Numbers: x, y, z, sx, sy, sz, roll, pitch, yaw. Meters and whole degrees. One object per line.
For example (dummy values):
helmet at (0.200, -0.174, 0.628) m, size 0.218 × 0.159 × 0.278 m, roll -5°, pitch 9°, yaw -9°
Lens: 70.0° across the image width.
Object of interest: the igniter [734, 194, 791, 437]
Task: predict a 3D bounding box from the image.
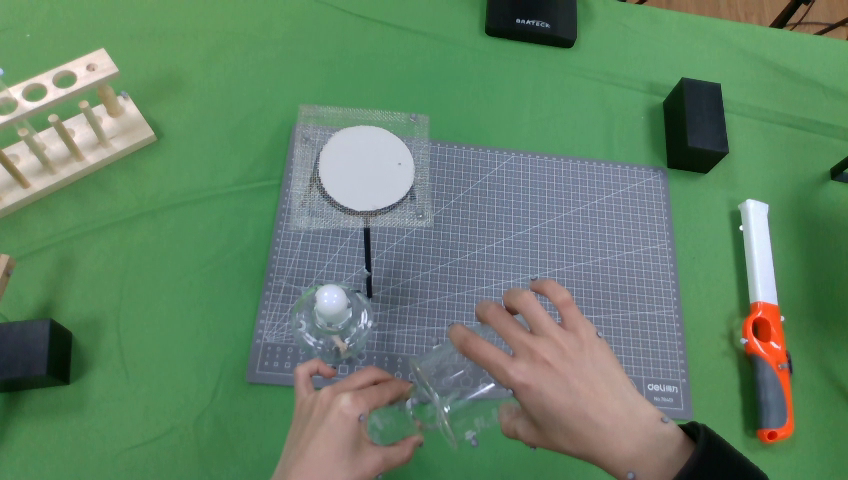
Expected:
igniter at (0.370, 0.076, 0.667) m, size 0.057 × 0.025 × 0.274 m, roll 13°, pitch 66°, yaw -13°

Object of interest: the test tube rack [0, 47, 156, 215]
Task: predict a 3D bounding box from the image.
test tube rack at (-0.408, -0.092, 0.603) m, size 0.242 × 0.085 × 0.066 m, roll -33°, pitch 75°, yaw -19°

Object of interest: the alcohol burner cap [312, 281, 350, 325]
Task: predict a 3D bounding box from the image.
alcohol burner cap at (-0.082, 0.054, 0.527) m, size 0.034 × 0.048 × 0.033 m, roll 1°, pitch 70°, yaw -3°

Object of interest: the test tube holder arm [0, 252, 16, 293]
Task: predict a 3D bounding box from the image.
test tube holder arm at (-0.382, 0.053, 0.530) m, size 0.010 × 0.015 × 0.087 m, roll 9°, pitch 65°, yaw -3°

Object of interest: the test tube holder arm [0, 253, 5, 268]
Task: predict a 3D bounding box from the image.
test tube holder arm at (-0.392, 0.092, 0.511) m, size 0.013 × 0.015 × 0.177 m, roll 9°, pitch 65°, yaw -4°

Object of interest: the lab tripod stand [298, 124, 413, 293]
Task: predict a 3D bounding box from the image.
lab tripod stand at (-0.061, -0.036, 0.597) m, size 0.149 × 0.132 × 0.147 m, roll 3°, pitch 67°, yaw -8°

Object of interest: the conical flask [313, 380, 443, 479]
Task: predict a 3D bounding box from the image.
conical flask at (-0.036, 0.159, 0.519) m, size 0.076 × 0.122 × 0.074 m, roll 27°, pitch 44°, yaw -29°

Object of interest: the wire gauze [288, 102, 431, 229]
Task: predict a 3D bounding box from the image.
wire gauze at (-0.056, -0.067, 0.537) m, size 0.122 × 0.011 × 0.124 m, roll 1°, pitch 68°, yaw -7°

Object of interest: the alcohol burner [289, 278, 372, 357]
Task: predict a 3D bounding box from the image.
alcohol burner at (-0.086, 0.067, 0.561) m, size 0.078 × 0.120 × 0.077 m, roll 4°, pitch 65°, yaw -8°

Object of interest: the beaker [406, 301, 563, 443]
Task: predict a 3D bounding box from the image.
beaker at (0.047, 0.098, 0.462) m, size 0.100 × 0.084 × 0.073 m, roll -26°, pitch 72°, yaw -11°

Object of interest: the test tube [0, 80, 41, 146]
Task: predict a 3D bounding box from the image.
test tube at (-0.398, -0.136, 0.570) m, size 0.017 × 0.151 × 0.017 m, roll 4°, pitch 62°, yaw -7°
